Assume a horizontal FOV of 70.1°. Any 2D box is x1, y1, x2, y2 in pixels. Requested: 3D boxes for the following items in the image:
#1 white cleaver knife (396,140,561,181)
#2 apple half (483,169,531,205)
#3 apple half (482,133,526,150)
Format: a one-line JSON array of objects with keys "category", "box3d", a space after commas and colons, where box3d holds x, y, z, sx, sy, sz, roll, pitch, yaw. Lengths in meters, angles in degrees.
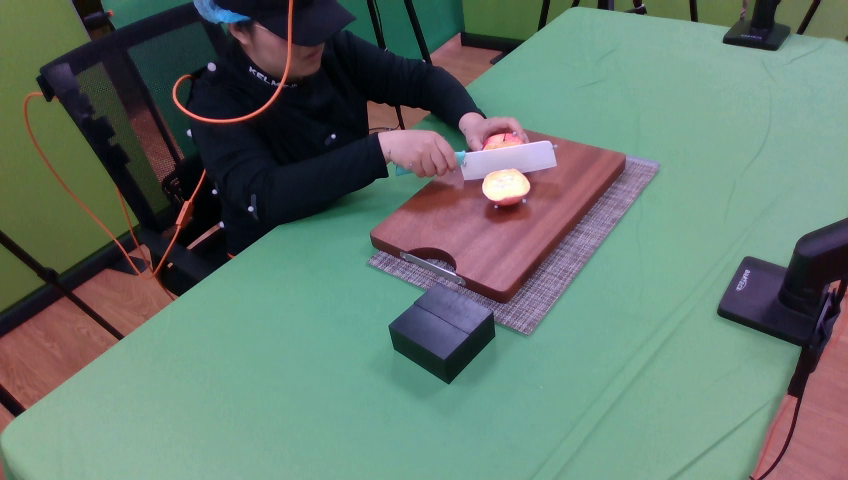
[{"category": "white cleaver knife", "box3d": [0.088, -0.129, 1.044, 0.285, 0.066, 0.021, -4, 38, 15]}, {"category": "apple half", "box3d": [0.137, -0.083, 1.002, 0.081, 0.033, 0.081, -7, 44, 8]}, {"category": "apple half", "box3d": [0.142, -0.152, 1.055, 0.080, 0.075, 0.053, -4, 36, 13]}]
